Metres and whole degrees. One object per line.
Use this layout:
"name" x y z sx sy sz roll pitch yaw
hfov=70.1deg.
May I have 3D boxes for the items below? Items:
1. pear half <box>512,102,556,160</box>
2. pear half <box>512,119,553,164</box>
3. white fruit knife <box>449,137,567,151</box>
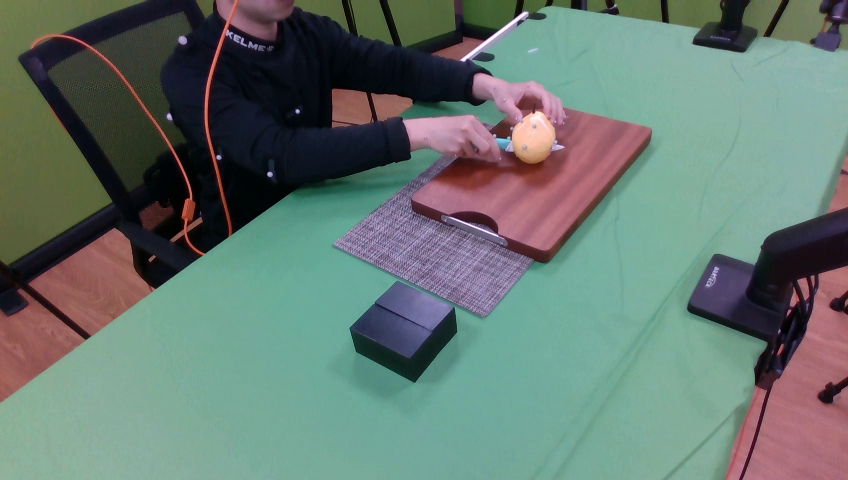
"pear half" 0.195 -0.197 1.060 0.076 0.110 0.056 5 42 8
"pear half" 0.186 -0.164 1.039 0.070 0.088 0.031 1 47 7
"white fruit knife" 0.145 -0.168 1.065 0.207 0.027 0.016 3 44 10
